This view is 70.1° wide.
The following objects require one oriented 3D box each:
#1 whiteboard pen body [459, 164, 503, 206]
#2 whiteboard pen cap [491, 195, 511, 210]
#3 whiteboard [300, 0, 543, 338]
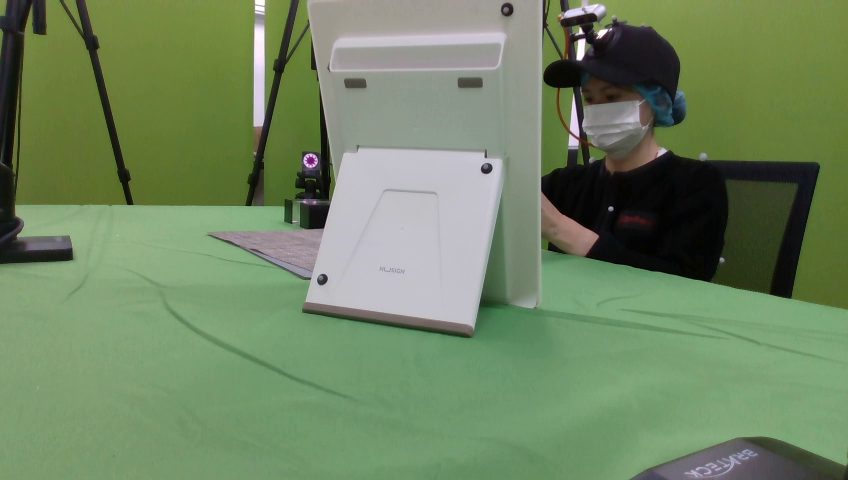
[{"bbox_3d":[0.099,-0.094,1.044,0.017,0.017,0.140,-2,34,-31],"label":"whiteboard pen body"},{"bbox_3d":[0.128,-0.063,1.002,0.033,0.018,0.018,30,24,37],"label":"whiteboard pen cap"},{"bbox_3d":[-0.020,-0.050,0.523,0.216,0.305,0.144,6,28,22],"label":"whiteboard"}]
